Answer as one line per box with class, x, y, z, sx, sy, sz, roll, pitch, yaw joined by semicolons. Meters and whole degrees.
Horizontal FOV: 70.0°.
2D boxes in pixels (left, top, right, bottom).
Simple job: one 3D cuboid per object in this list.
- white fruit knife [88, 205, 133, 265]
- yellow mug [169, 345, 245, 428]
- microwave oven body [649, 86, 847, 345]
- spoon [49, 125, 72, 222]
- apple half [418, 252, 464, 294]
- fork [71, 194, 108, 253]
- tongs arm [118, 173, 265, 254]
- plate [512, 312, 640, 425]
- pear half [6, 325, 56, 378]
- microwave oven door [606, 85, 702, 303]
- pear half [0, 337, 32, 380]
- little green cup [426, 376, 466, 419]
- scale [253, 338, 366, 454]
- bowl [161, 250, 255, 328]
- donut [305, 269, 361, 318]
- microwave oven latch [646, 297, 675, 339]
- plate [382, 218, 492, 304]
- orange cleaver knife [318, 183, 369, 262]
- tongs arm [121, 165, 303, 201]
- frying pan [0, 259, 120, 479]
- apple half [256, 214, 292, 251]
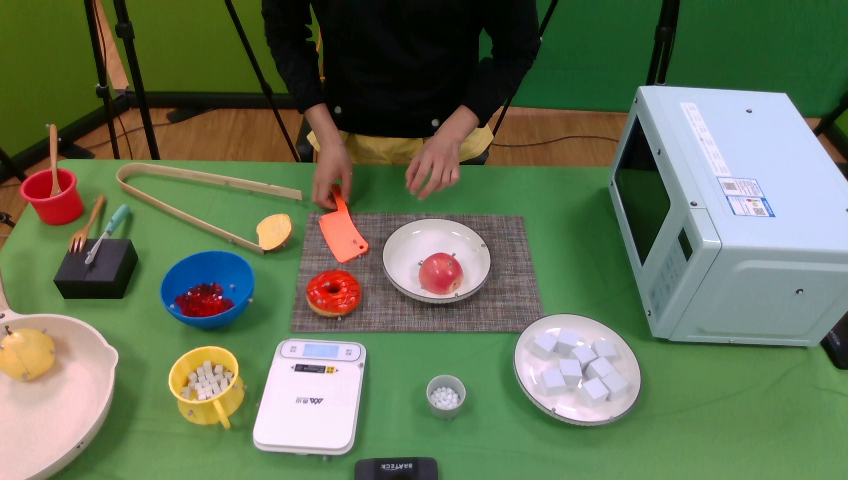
white fruit knife;-0.584;-0.013;1.129;0.016;0.027;0.206;0;32;-5
yellow mug;-0.322;0.230;0.922;0.100;0.064;0.130;-24;53;-25
microwave oven body;0.567;-0.053;1.118;0.326;0.261;0.439;2;45;-1
spoon;-0.718;-0.131;1.189;0.041;0.021;0.193;-4;90;-7
apple half;0.033;0.055;1.109;0.081;0.053;0.074;-28;57;-27
fork;-0.634;-0.036;1.158;0.028;0.019;0.206;-8;32;-8
tongs arm;-0.473;-0.053;1.212;0.386;0.028;0.028;23;57;18
plate;0.246;0.213;0.999;0.208;0.039;0.206;2;46;-2
pear half;-0.608;0.158;0.935;0.076;0.110;0.056;31;51;20
microwave oven door;0.423;-0.094;1.140;0.039;0.245;0.353;2;46;-1
pear half;-0.631;0.184;0.921;0.070;0.088;0.031;29;49;19
little green cup;0.033;0.248;0.950;0.061;0.039;0.061;2;46;-2
scale;-0.175;0.236;0.951;0.149;0.032;0.199;4;45;-1
bowl;-0.362;0.098;1.039;0.151;0.077;0.150;2;45;-2
donut;-0.160;0.094;1.075;0.099;0.048;0.098;4;45;-3
microwave oven latch;0.412;0.134;1.061;0.030;0.029;0.078;4;45;1
plate;0.023;0.042;1.143;0.209;0.038;0.208;2;46;-2
orange cleaver knife;-0.172;-0.038;1.218;0.077;0.012;0.210;-13;51;-16
tongs arm;-0.444;-0.113;1.267;0.384;0.026;0.050;11;51;8
frying pan;-0.647;0.164;0.936;0.307;0.103;0.485;-19;58;-22
apple half;-0.285;-0.011;1.176;0.081;0.033;0.081;-10;60;18
